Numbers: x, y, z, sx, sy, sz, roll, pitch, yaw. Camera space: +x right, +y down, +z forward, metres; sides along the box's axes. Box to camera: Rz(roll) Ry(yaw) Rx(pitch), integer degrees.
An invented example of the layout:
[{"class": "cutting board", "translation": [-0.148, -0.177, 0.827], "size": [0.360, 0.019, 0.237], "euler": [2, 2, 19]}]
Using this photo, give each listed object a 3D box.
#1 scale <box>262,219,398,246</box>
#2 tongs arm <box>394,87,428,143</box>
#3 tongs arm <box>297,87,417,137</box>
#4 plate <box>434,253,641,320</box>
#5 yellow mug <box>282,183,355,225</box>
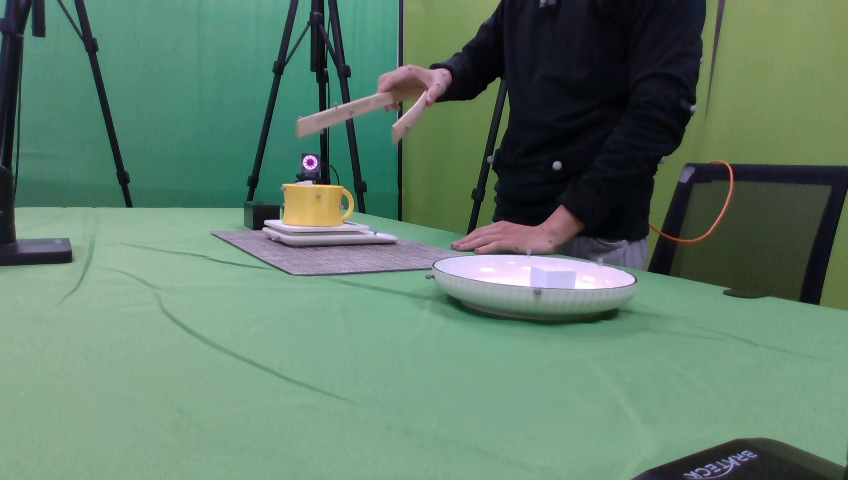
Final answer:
[{"class": "scale", "translation": [-0.160, -0.016, 1.028], "size": [0.202, 0.031, 0.148], "euler": [-2, 8, -31]}, {"class": "tongs arm", "translation": [-0.020, -0.207, 0.965], "size": [0.028, 0.028, 0.387], "euler": [-2, 21, 7]}, {"class": "tongs arm", "translation": [-0.091, -0.214, 0.980], "size": [0.050, 0.026, 0.385], "euler": [5, 21, 16]}, {"class": "plate", "translation": [0.114, 0.047, 0.626], "size": [0.208, 0.039, 0.207], "euler": [2, 7, 0]}, {"class": "yellow mug", "translation": [-0.172, -0.061, 1.009], "size": [0.131, 0.064, 0.099], "euler": [-2, 7, -41]}]
